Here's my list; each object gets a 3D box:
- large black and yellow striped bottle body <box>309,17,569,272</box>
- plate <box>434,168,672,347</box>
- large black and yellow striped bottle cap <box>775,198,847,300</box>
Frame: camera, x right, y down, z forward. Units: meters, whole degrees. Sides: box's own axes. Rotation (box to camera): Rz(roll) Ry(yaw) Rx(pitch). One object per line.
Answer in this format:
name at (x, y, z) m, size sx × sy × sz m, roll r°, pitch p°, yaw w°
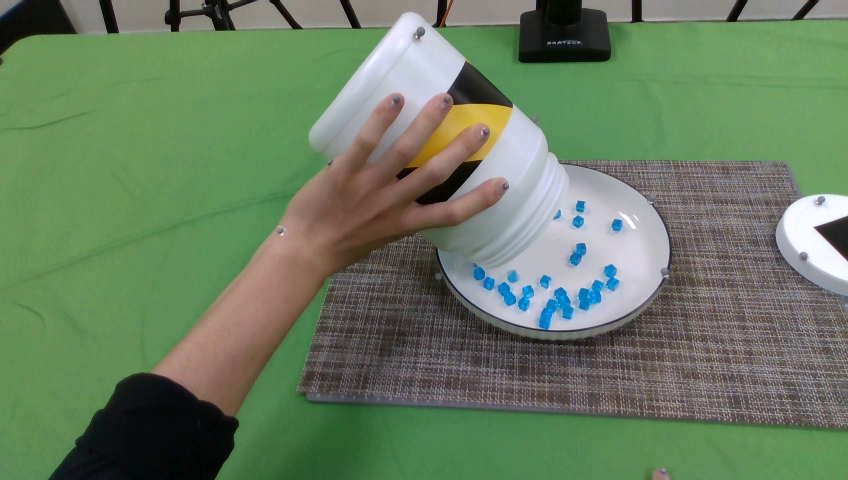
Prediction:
large black and yellow striped bottle body at (0.016, -0.070, 0.493) m, size 0.185 × 0.131 × 0.130 m, roll 39°, pitch 50°, yaw -15°
plate at (0.114, 0.013, 0.553) m, size 0.207 × 0.039 × 0.205 m, roll -3°, pitch 46°, yaw 3°
large black and yellow striped bottle cap at (0.380, 0.006, 0.545) m, size 0.115 × 0.019 × 0.114 m, roll -1°, pitch 48°, yaw 1°
